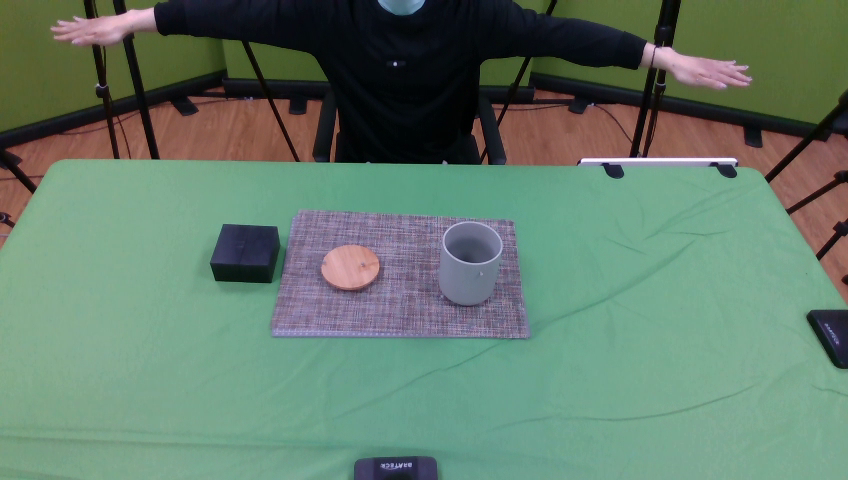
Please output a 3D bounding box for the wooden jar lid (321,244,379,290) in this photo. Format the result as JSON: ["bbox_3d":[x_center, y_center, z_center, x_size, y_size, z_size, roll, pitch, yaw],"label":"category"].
[{"bbox_3d":[-0.137,0.053,1.131,0.108,0.021,0.107,1,45,-1],"label":"wooden jar lid"}]

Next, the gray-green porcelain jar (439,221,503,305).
[{"bbox_3d":[0.080,0.046,1.078,0.106,0.127,0.105,2,46,-2],"label":"gray-green porcelain jar"}]
